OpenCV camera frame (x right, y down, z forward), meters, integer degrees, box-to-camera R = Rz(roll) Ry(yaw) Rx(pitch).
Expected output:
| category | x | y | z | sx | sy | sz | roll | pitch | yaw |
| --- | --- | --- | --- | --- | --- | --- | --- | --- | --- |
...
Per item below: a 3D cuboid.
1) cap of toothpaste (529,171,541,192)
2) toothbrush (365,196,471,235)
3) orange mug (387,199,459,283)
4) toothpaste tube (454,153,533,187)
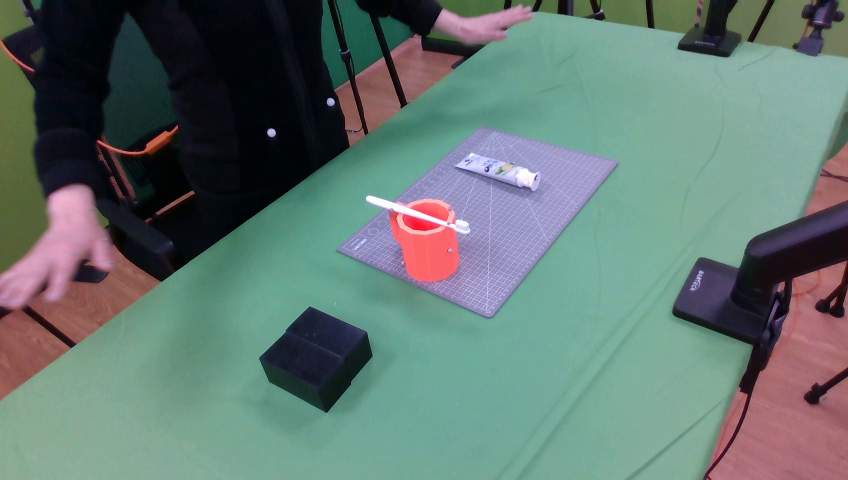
| category | x | y | z | sx | sy | sz | roll | pitch | yaw |
| --- | --- | --- | --- | --- | --- | --- | --- | --- | --- |
| cap of toothpaste | 0.193 | -0.103 | 1.054 | 0.011 | 0.037 | 0.037 | 19 | 47 | 25 |
| toothbrush | -0.013 | -0.039 | 0.880 | 0.180 | 0.017 | 0.014 | 18 | 50 | 27 |
| orange mug | -0.006 | -0.007 | 0.922 | 0.125 | 0.101 | 0.084 | 32 | 54 | 32 |
| toothpaste tube | 0.134 | -0.130 | 1.104 | 0.163 | 0.034 | 0.055 | 24 | 44 | 37 |
